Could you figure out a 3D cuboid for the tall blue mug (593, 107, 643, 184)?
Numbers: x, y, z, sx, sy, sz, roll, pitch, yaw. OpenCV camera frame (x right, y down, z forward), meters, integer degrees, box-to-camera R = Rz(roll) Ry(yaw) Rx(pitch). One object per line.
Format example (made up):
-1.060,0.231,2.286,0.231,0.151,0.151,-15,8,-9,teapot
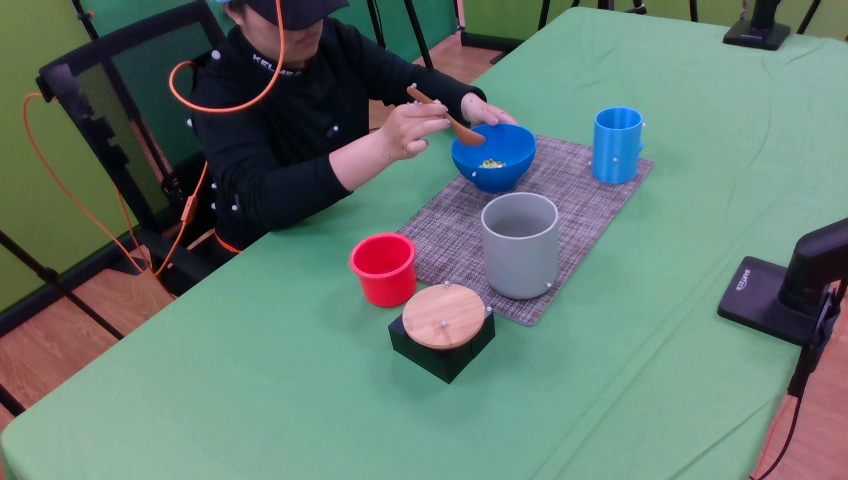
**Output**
0.330,-0.172,1.052,0.078,0.108,0.106,-12,40,0,tall blue mug

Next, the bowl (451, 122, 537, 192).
0.127,-0.138,1.076,0.151,0.077,0.150,-5,40,5,bowl

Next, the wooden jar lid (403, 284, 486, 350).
0.027,0.101,0.786,0.108,0.021,0.108,-5,39,4,wooden jar lid

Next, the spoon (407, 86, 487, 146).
0.036,-0.189,0.939,0.041,0.195,0.021,-14,60,37,spoon

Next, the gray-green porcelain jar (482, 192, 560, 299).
0.139,0.012,0.858,0.106,0.127,0.105,-6,40,5,gray-green porcelain jar
